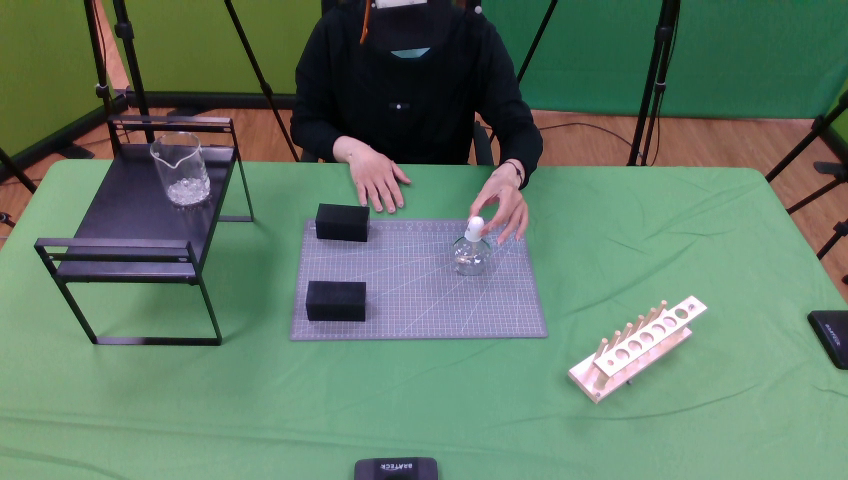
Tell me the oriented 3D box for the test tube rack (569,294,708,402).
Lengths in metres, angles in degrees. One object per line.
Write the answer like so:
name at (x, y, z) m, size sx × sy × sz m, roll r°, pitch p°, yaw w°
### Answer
test tube rack at (0.360, 0.167, 1.014) m, size 0.242 × 0.085 × 0.066 m, roll -25°, pitch 52°, yaw -25°

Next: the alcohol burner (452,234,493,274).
alcohol burner at (0.091, 0.008, 1.124) m, size 0.078 × 0.119 × 0.077 m, roll 2°, pitch 48°, yaw -2°

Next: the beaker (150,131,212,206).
beaker at (-0.385, -0.110, 0.969) m, size 0.074 × 0.101 × 0.083 m, roll -6°, pitch 48°, yaw -9°

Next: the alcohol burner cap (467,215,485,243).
alcohol burner cap at (0.094, -0.023, 1.087) m, size 0.034 × 0.048 × 0.033 m, roll 0°, pitch 38°, yaw 0°
